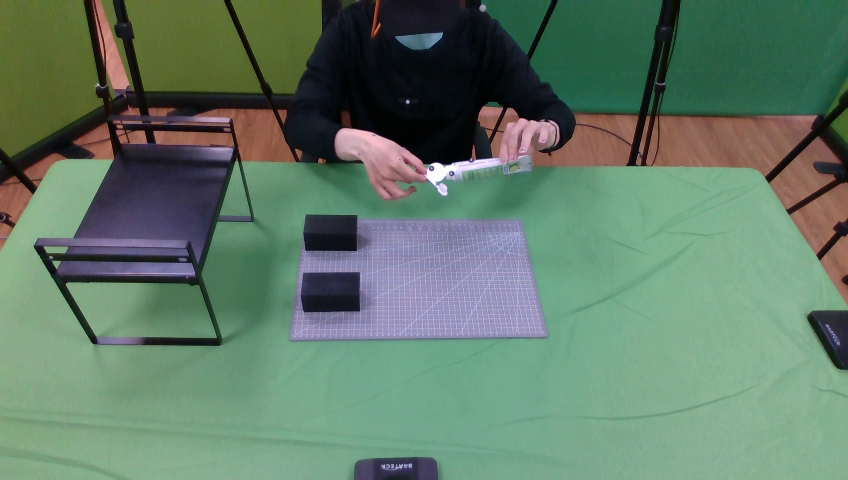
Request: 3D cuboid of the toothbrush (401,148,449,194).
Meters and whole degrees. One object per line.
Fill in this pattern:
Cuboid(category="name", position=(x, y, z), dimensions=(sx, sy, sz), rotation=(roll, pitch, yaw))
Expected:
Cuboid(category="toothbrush", position=(-0.001, -0.138, 1.178), dimensions=(0.014, 0.017, 0.180), rotation=(-17, 41, -23))

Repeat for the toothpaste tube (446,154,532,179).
Cuboid(category="toothpaste tube", position=(0.116, -0.136, 1.114), dimensions=(0.165, 0.055, 0.034), rotation=(-6, 70, 7))

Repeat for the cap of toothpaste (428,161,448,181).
Cuboid(category="cap of toothpaste", position=(0.025, -0.126, 1.106), dimensions=(0.037, 0.037, 0.011), rotation=(0, 2, -6))
